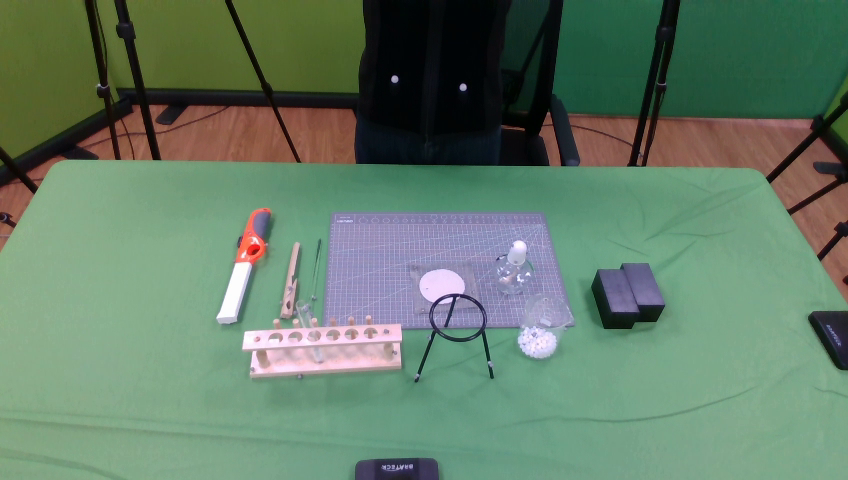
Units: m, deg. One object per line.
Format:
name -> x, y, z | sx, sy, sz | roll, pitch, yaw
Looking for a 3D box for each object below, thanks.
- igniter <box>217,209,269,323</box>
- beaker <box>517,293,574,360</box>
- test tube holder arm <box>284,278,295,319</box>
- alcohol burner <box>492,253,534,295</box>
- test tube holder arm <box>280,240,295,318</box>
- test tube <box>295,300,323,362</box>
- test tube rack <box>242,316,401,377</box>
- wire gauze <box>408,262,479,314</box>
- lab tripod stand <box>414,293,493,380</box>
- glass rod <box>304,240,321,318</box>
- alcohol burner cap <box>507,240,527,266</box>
igniter -> -0.335, 0.039, 1.132 | 0.057, 0.025, 0.275 | -3, 46, 6
beaker -> 0.200, 0.149, 1.018 | 0.084, 0.101, 0.073 | 14, 47, 8
test tube holder arm -> -0.242, 0.103, 1.085 | 0.010, 0.015, 0.087 | 28, 37, -30
alcohol burner -> 0.165, 0.045, 1.102 | 0.078, 0.119, 0.077 | 3, 47, -3
test tube holder arm -> -0.250, 0.068, 1.113 | 0.013, 0.015, 0.177 | 27, 38, -31
test tube -> -0.176, 0.143, 0.935 | 0.017, 0.151, 0.017 | -2, 46, 2
test tube rack -> -0.161, 0.166, 0.983 | 0.242, 0.085, 0.066 | -2, 46, -6
wire gauze -> 0.036, 0.085, 1.127 | 0.121, 0.011, 0.124 | -3, 43, -6
lab tripod stand -> 0.052, 0.159, 0.972 | 0.148, 0.132, 0.147 | 4, 46, -4
glass rod -> -0.207, 0.068, 1.128 | 0.008, 0.008, 0.198 | 2, 43, -2
alcohol burner cap -> 0.167, 0.021, 1.075 | 0.034, 0.048, 0.033 | 1, 55, -1
